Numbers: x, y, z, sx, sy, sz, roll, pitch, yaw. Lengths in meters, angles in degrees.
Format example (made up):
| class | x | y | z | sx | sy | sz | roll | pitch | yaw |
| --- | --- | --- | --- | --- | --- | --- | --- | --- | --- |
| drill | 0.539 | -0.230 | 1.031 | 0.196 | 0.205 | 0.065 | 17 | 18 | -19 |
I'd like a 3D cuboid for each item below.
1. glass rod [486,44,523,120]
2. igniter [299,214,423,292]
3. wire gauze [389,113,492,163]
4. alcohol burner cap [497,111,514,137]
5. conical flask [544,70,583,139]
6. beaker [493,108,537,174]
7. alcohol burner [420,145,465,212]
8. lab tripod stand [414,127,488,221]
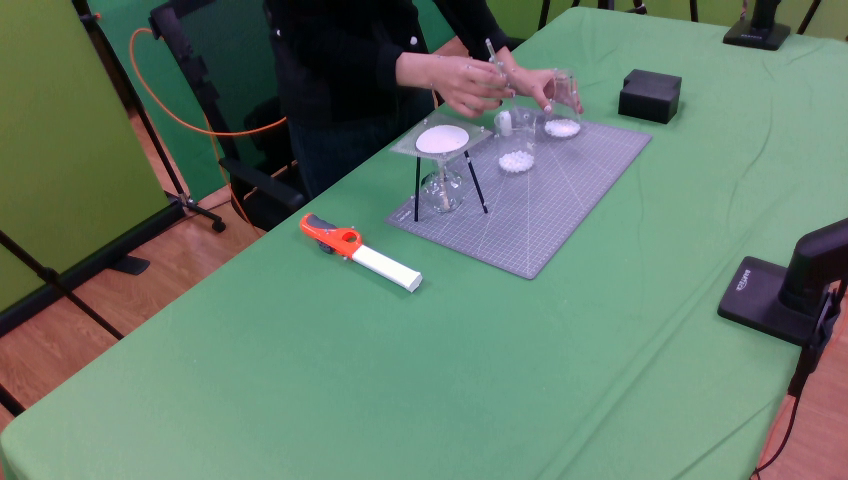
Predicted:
| class | x | y | z | sx | sy | sz | roll | pitch | yaw |
| --- | --- | --- | --- | --- | --- | --- | --- | --- | --- |
| glass rod | 0.135 | -0.254 | 0.994 | 0.008 | 0.201 | 0.008 | -10 | 62 | 21 |
| igniter | -0.112 | 0.016 | 0.983 | 0.274 | 0.025 | 0.057 | 25 | 62 | 35 |
| wire gauze | 0.026 | -0.164 | 0.977 | 0.120 | 0.011 | 0.125 | 24 | 49 | 35 |
| alcohol burner cap | 0.163 | -0.234 | 1.211 | 0.034 | 0.048 | 0.033 | -6 | 38 | 5 |
| conical flask | 0.268 | -0.262 | 1.160 | 0.075 | 0.122 | 0.075 | -5 | 40 | 5 |
| beaker | 0.170 | -0.177 | 1.096 | 0.074 | 0.101 | 0.083 | -34 | 46 | -26 |
| alcohol burner | 0.030 | -0.108 | 1.030 | 0.078 | 0.119 | 0.077 | -5 | 38 | 4 |
| lab tripod stand | 0.035 | -0.114 | 1.021 | 0.148 | 0.132 | 0.147 | -7 | 39 | 6 |
